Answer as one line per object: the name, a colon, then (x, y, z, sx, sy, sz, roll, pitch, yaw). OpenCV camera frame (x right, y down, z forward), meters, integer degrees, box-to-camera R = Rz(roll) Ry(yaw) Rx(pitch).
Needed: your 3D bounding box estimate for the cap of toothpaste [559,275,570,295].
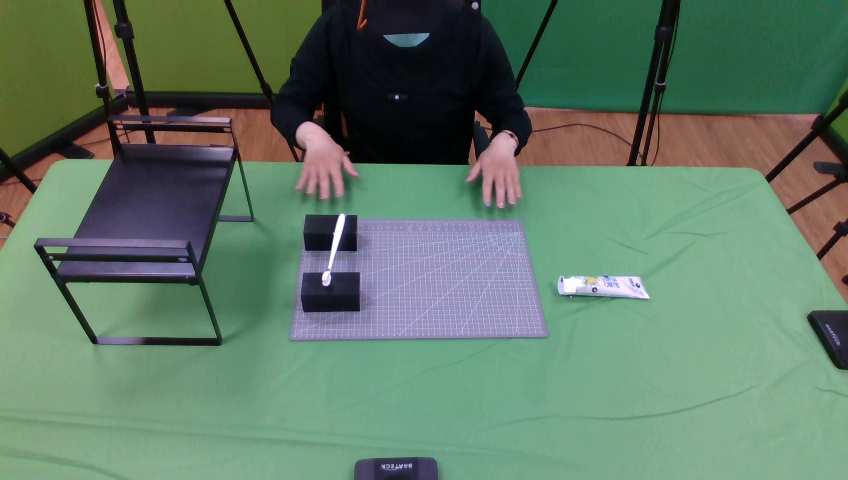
cap of toothpaste: (0.261, 0.083, 1.120, 0.011, 0.037, 0.037, 0, 47, -9)

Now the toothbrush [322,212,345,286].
toothbrush: (-0.164, 0.011, 1.101, 0.014, 0.017, 0.181, -6, 44, 12)

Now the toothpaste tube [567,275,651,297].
toothpaste tube: (0.339, 0.085, 1.132, 0.165, 0.035, 0.054, 0, 50, -9)
